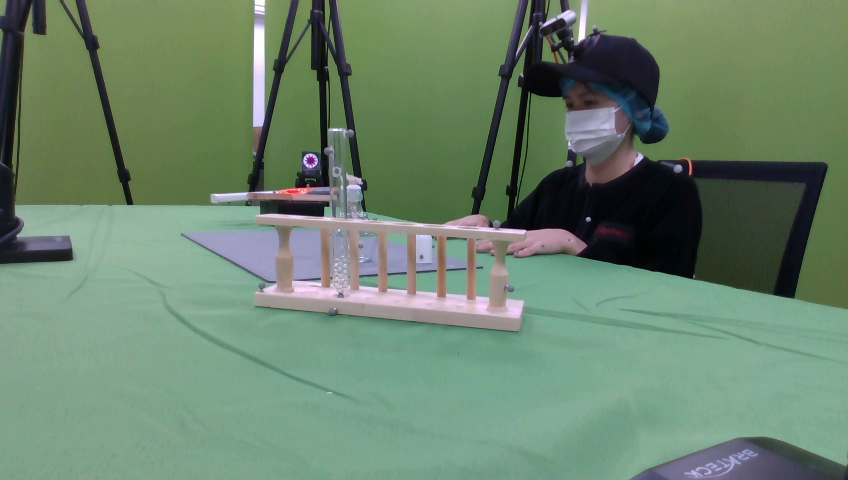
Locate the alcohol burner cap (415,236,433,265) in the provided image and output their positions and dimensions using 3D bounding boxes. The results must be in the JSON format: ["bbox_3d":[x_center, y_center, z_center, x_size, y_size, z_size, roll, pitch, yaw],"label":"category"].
[{"bbox_3d":[-0.004,0.011,0.835,0.034,0.048,0.034,2,7,0],"label":"alcohol burner cap"}]

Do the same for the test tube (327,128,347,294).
[{"bbox_3d":[-0.079,-0.025,0.545,0.017,0.150,0.017,0,9,0],"label":"test tube"}]

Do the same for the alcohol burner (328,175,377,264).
[{"bbox_3d":[-0.098,-0.028,0.819,0.078,0.119,0.078,1,8,0],"label":"alcohol burner"}]

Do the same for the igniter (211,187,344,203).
[{"bbox_3d":[-0.300,-0.094,1.266,0.278,0.025,0.057,-6,12,-34],"label":"igniter"}]

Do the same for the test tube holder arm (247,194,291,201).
[{"bbox_3d":[-0.308,-0.085,1.206,0.088,0.015,0.010,-3,2,-34],"label":"test tube holder arm"}]

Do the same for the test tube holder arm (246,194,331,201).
[{"bbox_3d":[-0.274,-0.087,1.236,0.179,0.015,0.013,-3,2,-35],"label":"test tube holder arm"}]

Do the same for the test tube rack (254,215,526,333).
[{"bbox_3d":[-0.030,0.025,0.557,0.242,0.085,0.067,4,7,12],"label":"test tube rack"}]
